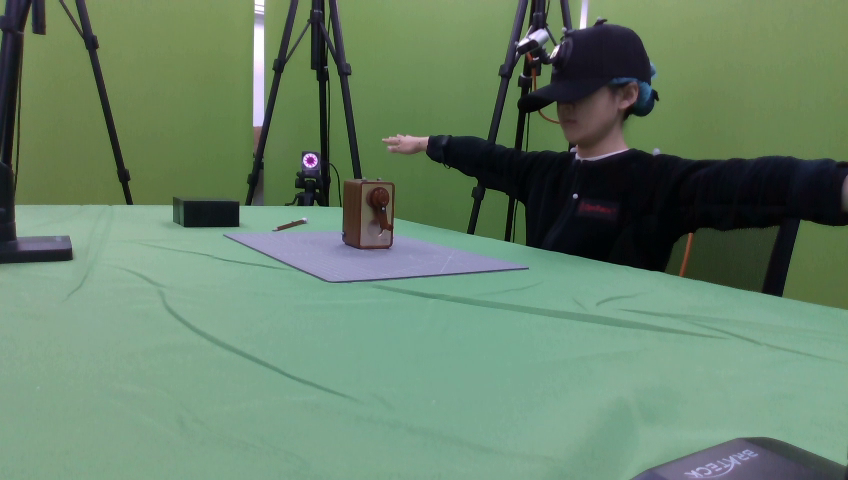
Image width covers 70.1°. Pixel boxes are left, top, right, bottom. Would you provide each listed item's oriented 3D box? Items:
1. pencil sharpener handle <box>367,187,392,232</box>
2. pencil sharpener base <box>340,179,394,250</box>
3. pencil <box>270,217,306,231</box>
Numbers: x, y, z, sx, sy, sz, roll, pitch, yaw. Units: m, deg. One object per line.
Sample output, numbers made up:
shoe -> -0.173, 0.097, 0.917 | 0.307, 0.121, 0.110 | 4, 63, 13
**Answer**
pencil sharpener handle -> -0.062, -0.046, 0.915 | 0.036, 0.068, 0.030 | -13, 15, -28
pencil sharpener base -> -0.091, -0.041, 0.959 | 0.061, 0.107, 0.076 | -1, 9, -30
pencil -> -0.271, -0.031, 1.212 | 0.012, 0.012, 0.194 | 4, 9, 7
